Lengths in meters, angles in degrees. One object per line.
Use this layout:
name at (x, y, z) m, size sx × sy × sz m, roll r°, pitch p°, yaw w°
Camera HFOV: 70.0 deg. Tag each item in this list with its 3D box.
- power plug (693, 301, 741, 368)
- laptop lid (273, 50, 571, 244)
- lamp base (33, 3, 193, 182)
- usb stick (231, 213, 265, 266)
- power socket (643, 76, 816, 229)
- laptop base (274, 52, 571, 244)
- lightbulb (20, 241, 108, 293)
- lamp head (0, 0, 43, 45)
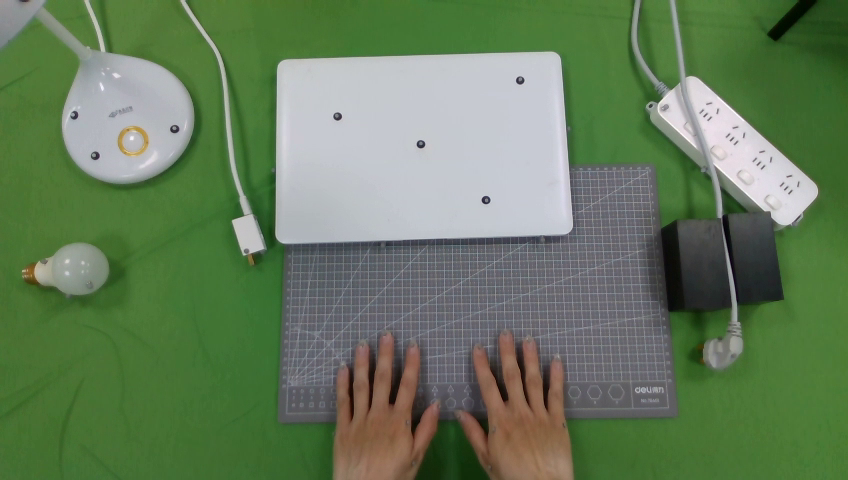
power plug at (0.331, 0.109, 0.682) m, size 0.035 × 0.052 × 0.072 m, roll 29°, pitch 71°, yaw -19°
laptop lid at (-0.005, -0.115, 0.729) m, size 0.357 × 0.013 × 0.240 m, roll 0°, pitch 80°, yaw 0°
lamp base at (-0.372, -0.174, 0.670) m, size 0.160 × 0.181 × 0.178 m, roll -32°, pitch 77°, yaw -6°
usb stick at (-0.206, 0.000, 0.714) m, size 0.027 × 0.021 × 0.059 m, roll -15°, pitch 89°, yaw -5°
power socket at (0.369, -0.107, 0.731) m, size 0.072 × 0.033 × 0.226 m, roll -43°, pitch 81°, yaw -8°
laptop base at (-0.005, -0.115, 0.742) m, size 0.354 × 0.023 × 0.234 m, roll -2°, pitch 81°, yaw 0°
lightbulb at (-0.416, 0.033, 0.695) m, size 0.107 × 0.060 × 0.059 m, roll -6°, pitch 78°, yaw 14°
lamp head at (-0.325, -0.204, 0.400) m, size 0.112 × 0.124 × 0.111 m, roll -19°, pitch 52°, yaw 27°
